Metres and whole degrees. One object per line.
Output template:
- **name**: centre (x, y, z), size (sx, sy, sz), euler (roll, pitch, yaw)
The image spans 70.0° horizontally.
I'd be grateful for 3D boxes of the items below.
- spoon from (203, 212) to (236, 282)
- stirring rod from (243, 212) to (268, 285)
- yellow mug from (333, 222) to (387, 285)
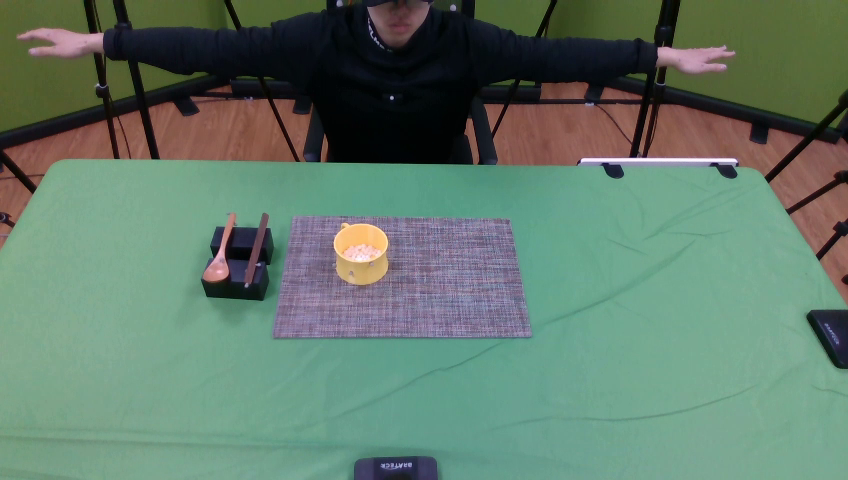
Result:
- **spoon**: centre (-0.361, 0.009, 1.097), size (0.041, 0.022, 0.192), euler (0, 44, -3)
- **stirring rod**: centre (-0.305, 0.012, 1.101), size (0.014, 0.006, 0.175), euler (31, 38, -28)
- **yellow mug**: centre (-0.127, 0.016, 1.139), size (0.100, 0.064, 0.130), euler (-23, 51, -25)
